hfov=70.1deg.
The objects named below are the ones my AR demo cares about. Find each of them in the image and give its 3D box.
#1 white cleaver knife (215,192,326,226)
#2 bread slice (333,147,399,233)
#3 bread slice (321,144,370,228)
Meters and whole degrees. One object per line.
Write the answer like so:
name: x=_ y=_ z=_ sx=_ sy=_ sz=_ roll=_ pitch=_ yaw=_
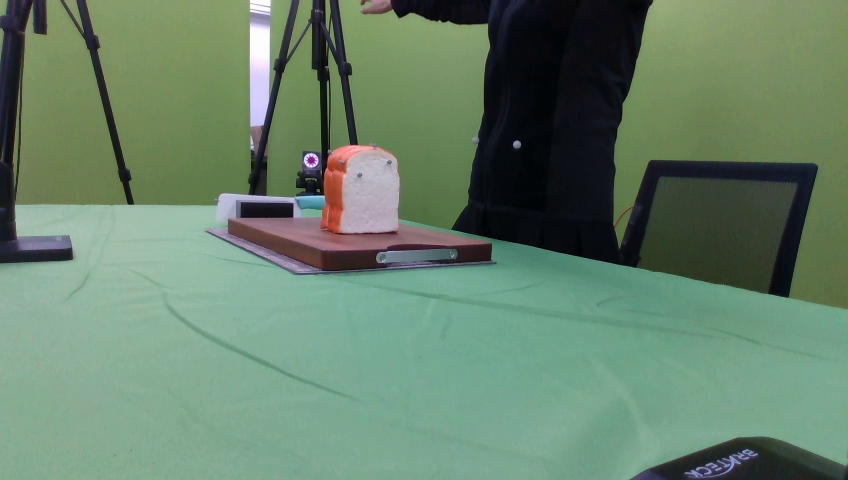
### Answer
white cleaver knife: x=-0.276 y=-0.061 z=1.233 sx=0.288 sy=0.066 sz=0.021 roll=0 pitch=4 yaw=-25
bread slice: x=-0.084 y=-0.074 z=0.908 sx=0.105 sy=0.131 sz=0.019 roll=-4 pitch=14 yaw=-31
bread slice: x=-0.106 y=-0.083 z=0.952 sx=0.107 sy=0.134 sz=0.018 roll=2 pitch=6 yaw=-32
